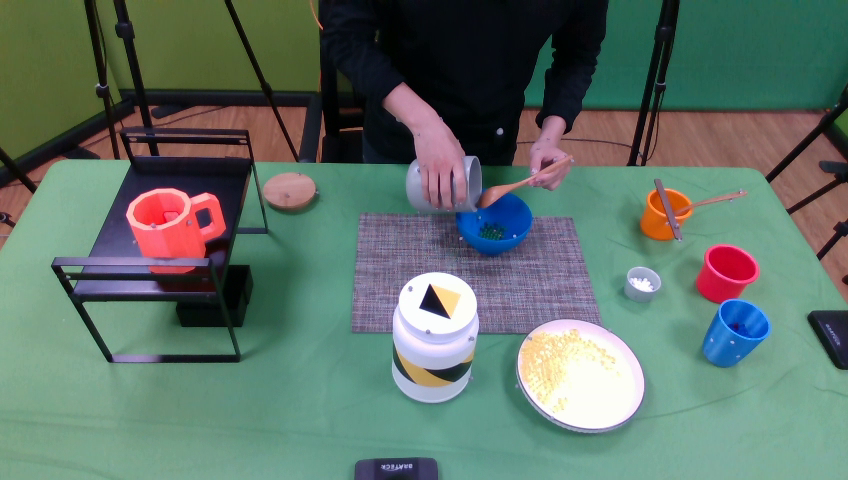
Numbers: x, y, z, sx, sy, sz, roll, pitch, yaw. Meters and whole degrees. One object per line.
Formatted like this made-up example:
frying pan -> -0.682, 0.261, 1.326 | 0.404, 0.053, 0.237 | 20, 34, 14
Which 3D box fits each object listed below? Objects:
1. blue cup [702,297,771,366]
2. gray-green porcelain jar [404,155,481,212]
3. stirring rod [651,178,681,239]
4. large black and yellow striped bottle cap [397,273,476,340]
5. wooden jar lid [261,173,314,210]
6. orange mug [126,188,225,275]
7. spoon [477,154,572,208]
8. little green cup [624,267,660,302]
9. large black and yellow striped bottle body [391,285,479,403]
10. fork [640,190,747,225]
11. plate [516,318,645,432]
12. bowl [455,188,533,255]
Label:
blue cup -> 0.519, 0.162, 1.025 | 0.093, 0.101, 0.092 | 3, 45, -3
gray-green porcelain jar -> 0.034, -0.105, 1.134 | 0.126, 0.106, 0.105 | 2, 44, 18
stirring rod -> 0.479, -0.065, 1.204 | 0.014, 0.006, 0.175 | 3, 46, -3
large black and yellow striped bottle cap -> 0.018, 0.094, 0.878 | 0.115, 0.019, 0.114 | 3, 46, -3
wooden jar lid -> -0.286, -0.101, 1.273 | 0.108, 0.021, 0.107 | 3, 45, -3
orange mug -> -0.357, -0.019, 0.884 | 0.126, 0.101, 0.083 | -29, 54, -23
spoon -> 0.182, -0.110, 1.113 | 0.194, 0.022, 0.041 | -24, 43, 13
little green cup -> 0.406, 0.084, 1.135 | 0.061, 0.039, 0.061 | 3, 45, -3
large black and yellow striped bottle body -> 0.015, 0.153, 0.938 | 0.131, 0.185, 0.130 | 2, 46, -2
fork -> 0.533, -0.065, 1.211 | 0.207, 0.019, 0.028 | -22, 28, 39
plate -> 0.253, 0.221, 0.992 | 0.209, 0.038, 0.208 | 2, 46, -2
bowl -> 0.131, -0.025, 1.186 | 0.151, 0.077, 0.150 | 2, 45, -2
